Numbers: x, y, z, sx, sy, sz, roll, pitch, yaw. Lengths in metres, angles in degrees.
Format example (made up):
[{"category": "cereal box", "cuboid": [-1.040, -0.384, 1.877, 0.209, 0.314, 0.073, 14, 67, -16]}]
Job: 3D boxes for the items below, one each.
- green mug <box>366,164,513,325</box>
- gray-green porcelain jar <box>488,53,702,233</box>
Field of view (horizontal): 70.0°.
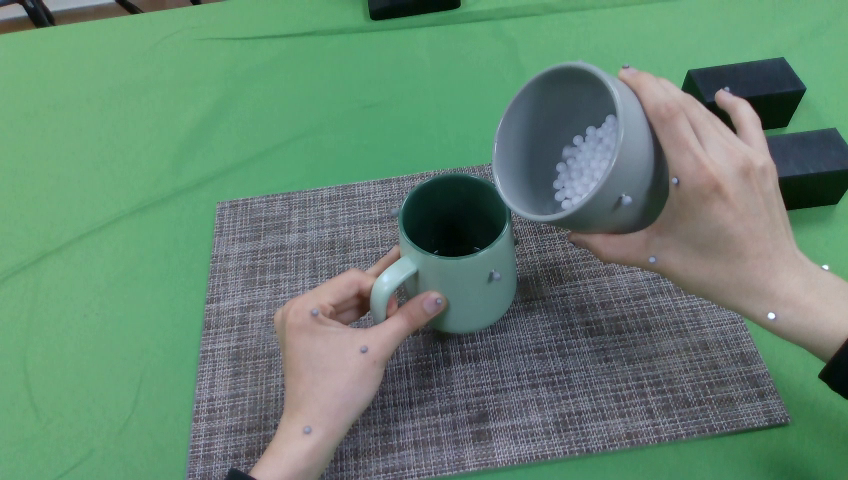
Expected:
[{"category": "green mug", "cuboid": [0.010, 0.016, 0.455, 0.125, 0.106, 0.091, -37, 60, -19]}, {"category": "gray-green porcelain jar", "cuboid": [0.126, -0.061, 0.430, 0.127, 0.106, 0.104, 9, 42, -41]}]
